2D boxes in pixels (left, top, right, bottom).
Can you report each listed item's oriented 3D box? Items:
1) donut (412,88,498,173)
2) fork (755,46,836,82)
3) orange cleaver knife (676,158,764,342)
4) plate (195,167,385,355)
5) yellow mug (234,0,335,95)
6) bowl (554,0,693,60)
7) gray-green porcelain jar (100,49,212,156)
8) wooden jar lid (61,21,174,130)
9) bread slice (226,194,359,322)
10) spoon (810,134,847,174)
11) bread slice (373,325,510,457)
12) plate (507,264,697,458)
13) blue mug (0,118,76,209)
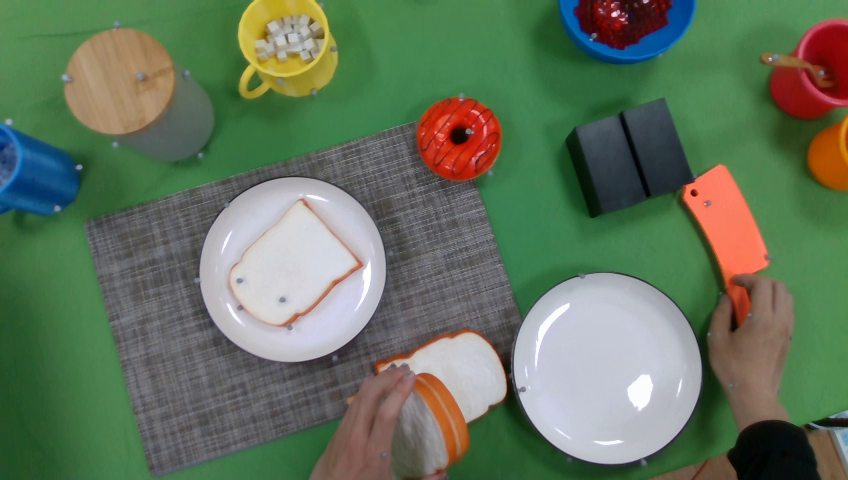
[{"bbox_3d":[0.035,-0.124,0.691,0.099,0.048,0.099,0,86,0],"label":"donut"},{"bbox_3d":[0.402,-0.191,0.650,0.208,0.018,0.028,-6,83,-42],"label":"fork"},{"bbox_3d":[0.353,0.010,0.696,0.077,0.012,0.210,-16,84,-10],"label":"orange cleaver knife"},{"bbox_3d":[-0.146,0.024,0.680,0.208,0.039,0.207,0,85,0],"label":"plate"},{"bbox_3d":[-0.167,-0.217,0.691,0.100,0.064,0.131,41,87,3],"label":"yellow mug"},{"bbox_3d":[0.217,-0.269,0.690,0.151,0.077,0.151,0,85,0],"label":"bowl"},{"bbox_3d":[-0.297,-0.152,0.655,0.106,0.126,0.105,0,84,0],"label":"gray-green porcelain jar"},{"bbox_3d":[-0.297,-0.158,0.593,0.108,0.021,0.108,0,83,1],"label":"wooden jar lid"},{"bbox_3d":[-0.154,0.028,0.682,0.131,0.019,0.104,-44,86,-5],"label":"bread slice"},{"bbox_3d":[0.518,-0.121,0.644,0.022,0.193,0.041,-12,79,-45],"label":"spoon"},{"bbox_3d":[0.028,0.153,0.647,0.134,0.018,0.106,-24,82,-22],"label":"bread slice"},{"bbox_3d":[0.194,0.132,0.676,0.209,0.038,0.208,0,85,0],"label":"plate"},{"bbox_3d":[-0.460,-0.071,0.657,0.116,0.106,0.082,-43,86,-3],"label":"blue mug"}]
